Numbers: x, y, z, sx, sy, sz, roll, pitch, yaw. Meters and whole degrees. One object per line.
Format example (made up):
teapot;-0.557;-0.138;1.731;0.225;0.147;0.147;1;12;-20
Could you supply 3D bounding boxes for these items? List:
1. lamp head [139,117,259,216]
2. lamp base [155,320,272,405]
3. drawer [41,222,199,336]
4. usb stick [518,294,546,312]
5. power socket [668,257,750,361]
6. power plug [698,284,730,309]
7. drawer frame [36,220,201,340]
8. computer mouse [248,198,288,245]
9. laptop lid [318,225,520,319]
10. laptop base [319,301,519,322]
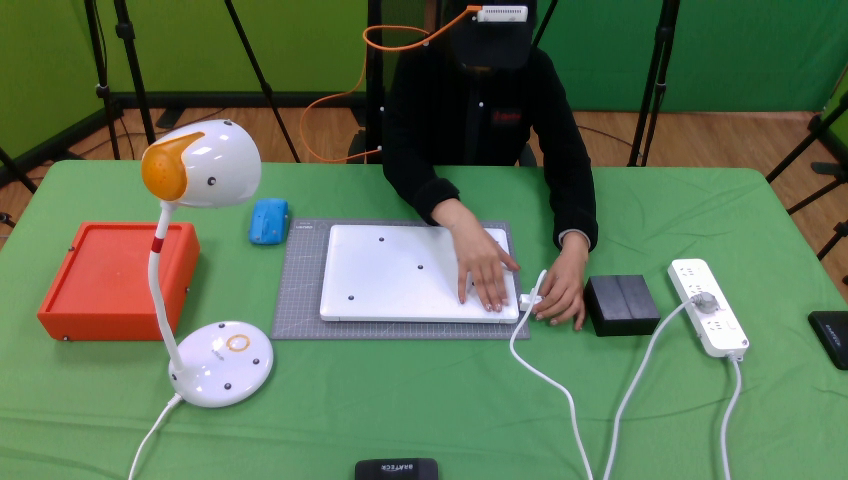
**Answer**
lamp head;-0.281;-0.086;0.734;0.112;0.113;0.123;21;25;16
lamp base;-0.330;0.149;0.918;0.160;0.181;0.179;26;52;20
drawer;-0.519;0.064;1.057;0.195;0.073;0.210;1;46;-4
usb stick;0.187;0.112;1.087;0.059;0.027;0.021;2;42;-3
power socket;0.517;0.117;1.109;0.072;0.033;0.225;-3;47;-4
power plug;0.510;0.096;1.059;0.052;0.073;0.035;-22;61;10
drawer frame;-0.517;0.065;1.055;0.202;0.083;0.212;0;47;-5
computer mouse;-0.309;-0.041;1.205;0.063;0.041;0.116;3;49;-3
laptop lid;-0.008;0.053;1.131;0.357;0.013;0.240;2;43;-2
laptop base;-0.009;0.063;1.137;0.354;0.023;0.234;1;42;-3
